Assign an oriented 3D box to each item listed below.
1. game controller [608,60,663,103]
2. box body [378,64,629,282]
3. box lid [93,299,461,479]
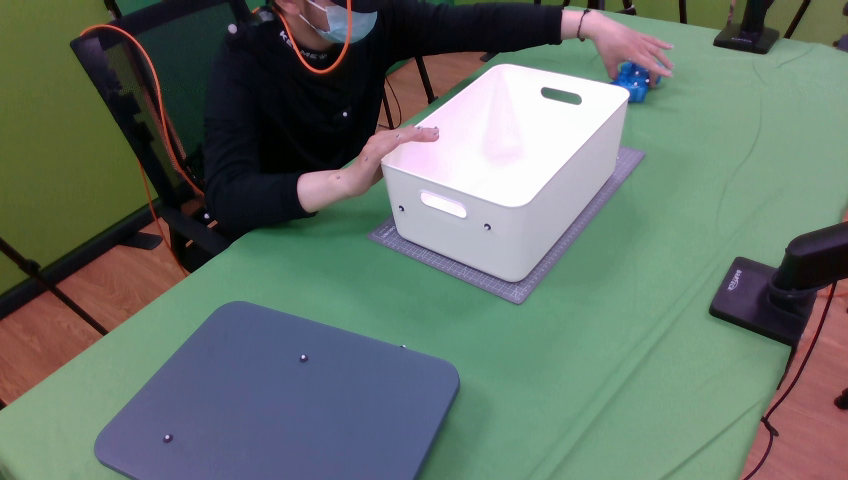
[{"bbox_3d":[0.442,-0.344,1.288,0.096,0.052,0.155,24,49,28],"label":"game controller"},{"bbox_3d":[0.137,-0.121,0.978,0.252,0.161,0.365,22,49,30],"label":"box body"},{"bbox_3d":[-0.164,0.200,0.701,0.369,0.015,0.263,13,44,21],"label":"box lid"}]
